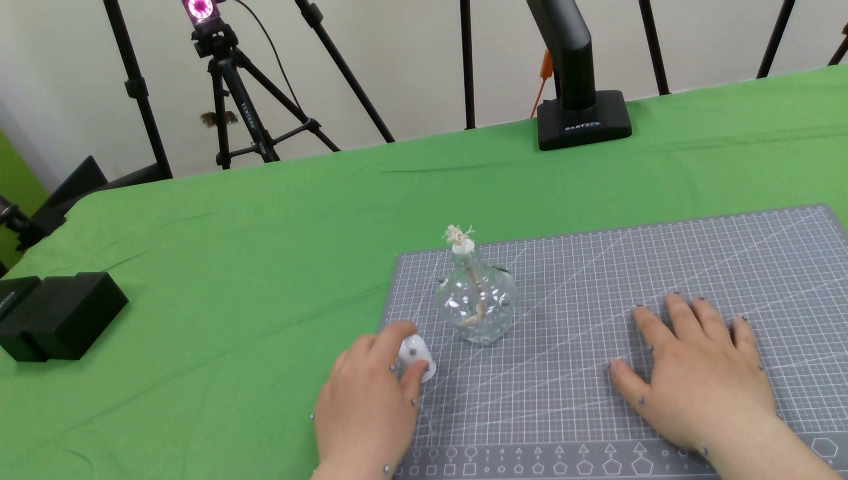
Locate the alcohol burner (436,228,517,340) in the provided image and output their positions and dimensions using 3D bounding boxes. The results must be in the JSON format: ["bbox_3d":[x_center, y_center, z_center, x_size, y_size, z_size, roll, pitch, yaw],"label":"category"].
[{"bbox_3d":[0.045,0.035,0.556,0.078,0.120,0.077,-10,38,8],"label":"alcohol burner"}]

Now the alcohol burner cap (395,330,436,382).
[{"bbox_3d":[-0.009,0.102,0.550,0.034,0.048,0.033,-11,39,9],"label":"alcohol burner cap"}]
